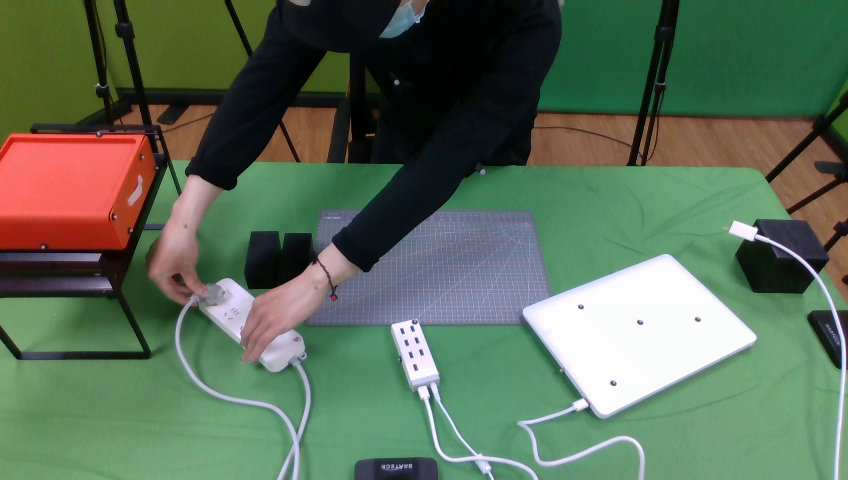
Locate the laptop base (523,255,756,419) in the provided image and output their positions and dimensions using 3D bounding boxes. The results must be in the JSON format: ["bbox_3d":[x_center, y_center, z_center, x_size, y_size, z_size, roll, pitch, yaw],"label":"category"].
[{"bbox_3d":[0.381,0.157,1.080,0.355,0.023,0.234,-18,48,-20],"label":"laptop base"}]

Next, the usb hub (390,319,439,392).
[{"bbox_3d":[-0.016,0.190,1.013,0.049,0.025,0.124,-11,48,-15],"label":"usb hub"}]

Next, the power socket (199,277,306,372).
[{"bbox_3d":[-0.297,0.141,1.034,0.225,0.033,0.072,34,53,24],"label":"power socket"}]

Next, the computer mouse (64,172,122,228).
[{"bbox_3d":[-0.521,-0.067,0.955,0.063,0.041,0.116,0,48,-9],"label":"computer mouse"}]

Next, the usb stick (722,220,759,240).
[{"bbox_3d":[0.593,-0.021,1.139,0.059,0.027,0.021,22,12,28],"label":"usb stick"}]

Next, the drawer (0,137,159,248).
[{"bbox_3d":[-0.549,-0.079,0.944,0.212,0.073,0.193,0,47,-3],"label":"drawer"}]

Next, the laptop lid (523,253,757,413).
[{"bbox_3d":[0.380,0.147,1.073,0.357,0.013,0.240,-17,48,-19],"label":"laptop lid"}]

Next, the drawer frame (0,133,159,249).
[{"bbox_3d":[-0.553,-0.078,0.942,0.214,0.083,0.200,-1,47,-4],"label":"drawer frame"}]

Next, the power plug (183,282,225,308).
[{"bbox_3d":[-0.374,0.099,1.027,0.072,0.053,0.035,-33,50,-23],"label":"power plug"}]
